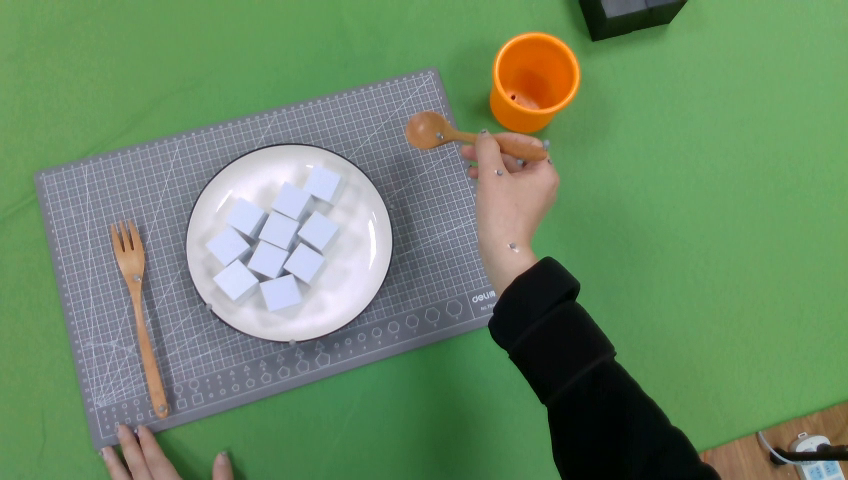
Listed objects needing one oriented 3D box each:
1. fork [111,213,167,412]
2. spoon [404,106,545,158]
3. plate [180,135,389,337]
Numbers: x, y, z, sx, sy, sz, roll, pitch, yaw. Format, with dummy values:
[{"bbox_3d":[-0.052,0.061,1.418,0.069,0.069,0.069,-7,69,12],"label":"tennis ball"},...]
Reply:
[{"bbox_3d":[-0.287,0.072,0.614,0.028,0.018,0.206,-14,79,-12],"label":"fork"},{"bbox_3d":[0.040,-0.097,0.564,0.022,0.192,0.041,25,92,-37],"label":"spoon"},{"bbox_3d":[-0.140,-0.004,0.629,0.208,0.039,0.207,1,80,-4],"label":"plate"}]
